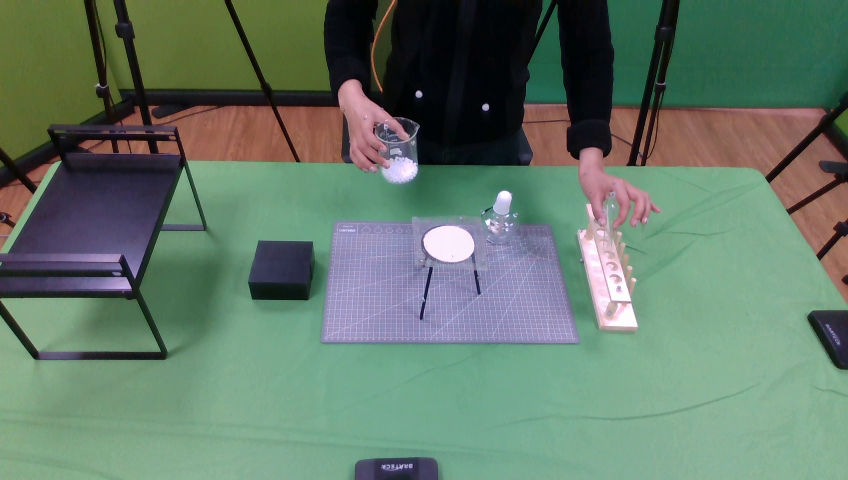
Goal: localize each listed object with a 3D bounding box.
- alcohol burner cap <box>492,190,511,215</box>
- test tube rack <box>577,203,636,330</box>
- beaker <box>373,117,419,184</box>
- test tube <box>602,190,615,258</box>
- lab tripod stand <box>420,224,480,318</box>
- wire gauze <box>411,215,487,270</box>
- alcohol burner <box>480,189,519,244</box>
[{"bbox_3d":[0.151,-0.076,1.165,0.034,0.048,0.033,5,49,-6],"label":"alcohol burner cap"},{"bbox_3d":[0.348,0.045,1.139,0.067,0.085,0.241,3,46,-2],"label":"test tube rack"},{"bbox_3d":[-0.045,-0.159,1.081,0.084,0.101,0.073,-22,50,-17],"label":"beaker"},{"bbox_3d":[0.322,-0.022,1.062,0.017,0.151,0.017,-6,39,5],"label":"test tube"},{"bbox_3d":[0.034,0.052,1.071,0.148,0.132,0.147,3,48,-3],"label":"lab tripod stand"},{"bbox_3d":[0.041,0.002,1.026,0.125,0.011,0.120,1,46,-3],"label":"wire gauze"},{"bbox_3d":[0.150,-0.051,1.190,0.078,0.120,0.077,1,47,-1],"label":"alcohol burner"}]
